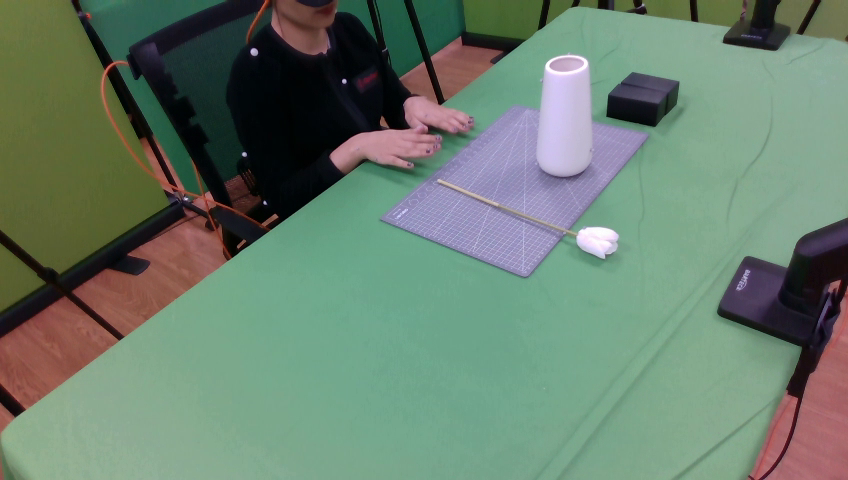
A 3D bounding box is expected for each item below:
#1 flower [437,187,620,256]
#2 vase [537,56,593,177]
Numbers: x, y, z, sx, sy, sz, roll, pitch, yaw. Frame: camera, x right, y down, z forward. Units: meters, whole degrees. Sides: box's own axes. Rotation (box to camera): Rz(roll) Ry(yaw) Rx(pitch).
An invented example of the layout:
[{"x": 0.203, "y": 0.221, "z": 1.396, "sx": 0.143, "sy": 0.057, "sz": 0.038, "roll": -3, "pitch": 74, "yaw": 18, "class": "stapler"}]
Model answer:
[{"x": 0.156, "y": -0.045, "z": 1.011, "sx": 0.358, "sy": 0.038, "sz": 0.044, "roll": 22, "pitch": 85, "yaw": 38, "class": "flower"}, {"x": 0.245, "y": -0.209, "z": 1.040, "sx": 0.098, "sy": 0.201, "sz": 0.097, "roll": -4, "pitch": 40, "yaw": 4, "class": "vase"}]
